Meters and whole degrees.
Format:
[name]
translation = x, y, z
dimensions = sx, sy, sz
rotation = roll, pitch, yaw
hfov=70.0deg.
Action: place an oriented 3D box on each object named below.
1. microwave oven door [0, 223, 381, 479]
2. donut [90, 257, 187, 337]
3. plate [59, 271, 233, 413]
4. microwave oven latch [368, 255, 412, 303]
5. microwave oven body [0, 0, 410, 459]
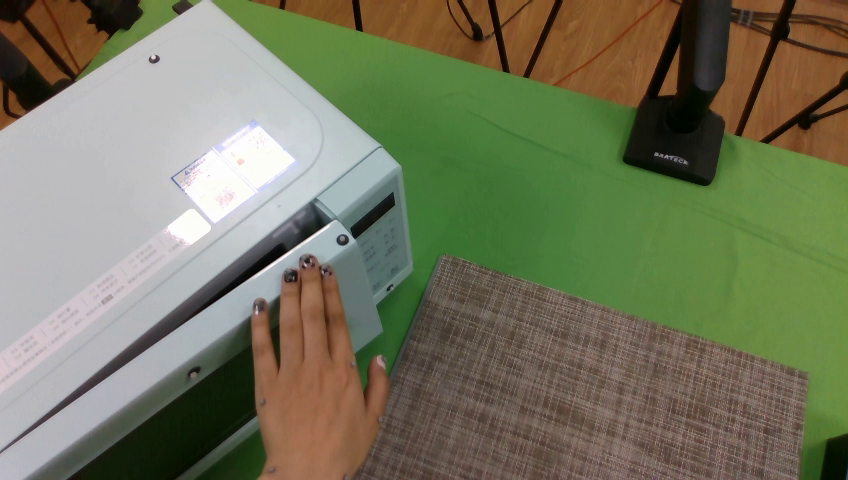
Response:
[microwave oven door]
translation = -0.201, 0.145, 0.571
dimensions = 0.355, 0.245, 0.039
rotation = -37, 68, -16
[donut]
translation = -0.315, 0.063, 0.672
dimensions = 0.099, 0.048, 0.098
rotation = 6, 52, -8
[plate]
translation = -0.298, 0.095, 0.647
dimensions = 0.209, 0.038, 0.207
rotation = -5, 57, 8
[microwave oven latch]
translation = -0.049, 0.043, 0.732
dimensions = 0.079, 0.030, 0.030
rotation = -41, 70, -16
[microwave oven body]
translation = -0.283, 0.019, 0.641
dimensions = 0.441, 0.262, 0.324
rotation = -42, 71, -17
